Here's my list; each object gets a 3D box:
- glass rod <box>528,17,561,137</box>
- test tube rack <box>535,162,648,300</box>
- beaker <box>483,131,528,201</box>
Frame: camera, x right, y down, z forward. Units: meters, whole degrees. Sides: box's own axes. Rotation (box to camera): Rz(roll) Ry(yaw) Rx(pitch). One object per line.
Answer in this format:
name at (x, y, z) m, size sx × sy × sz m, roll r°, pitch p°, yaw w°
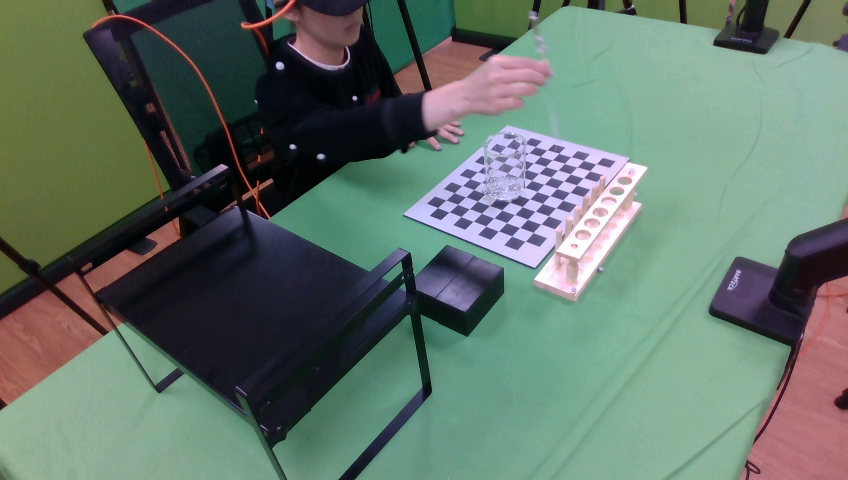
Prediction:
glass rod at (0.166, -0.215, 0.824) m, size 0.008 × 0.201 × 0.008 m, roll -13°, pitch 47°, yaw 15°
test tube rack at (0.257, -0.024, 0.916) m, size 0.066 × 0.085 × 0.243 m, roll 22°, pitch 49°, yaw 30°
beaker at (0.143, -0.126, 1.036) m, size 0.073 × 0.101 × 0.084 m, roll 24°, pitch 49°, yaw 31°
